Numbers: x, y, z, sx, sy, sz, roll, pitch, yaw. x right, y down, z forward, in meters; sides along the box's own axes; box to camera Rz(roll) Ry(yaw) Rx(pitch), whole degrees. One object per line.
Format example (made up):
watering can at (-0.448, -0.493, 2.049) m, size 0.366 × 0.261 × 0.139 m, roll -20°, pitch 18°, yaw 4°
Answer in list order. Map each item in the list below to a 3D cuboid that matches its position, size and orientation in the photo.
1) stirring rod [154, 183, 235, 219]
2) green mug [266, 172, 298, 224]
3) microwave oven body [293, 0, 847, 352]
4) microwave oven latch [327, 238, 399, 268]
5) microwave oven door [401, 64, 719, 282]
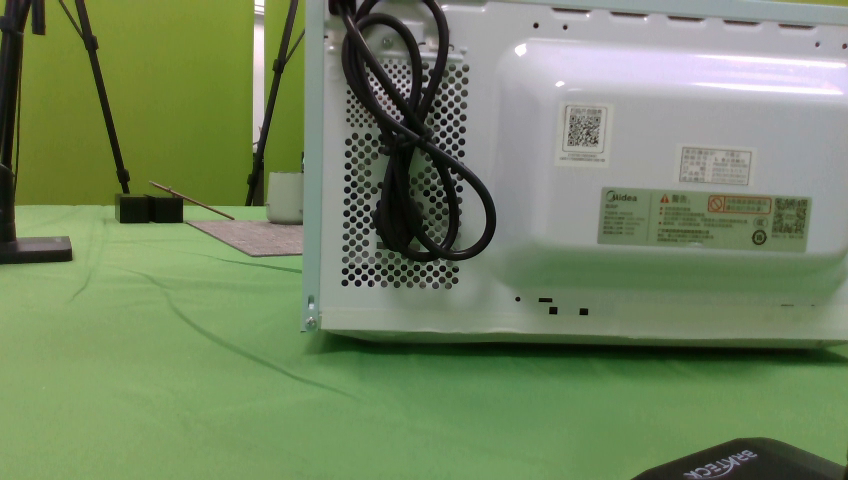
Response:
stirring rod at (-0.472, -0.079, 1.252) m, size 0.177 × 0.006 × 0.014 m, roll 27°, pitch 4°, yaw -35°
green mug at (-0.272, -0.089, 1.271) m, size 0.092 × 0.105 × 0.126 m, roll 7°, pitch 8°, yaw 33°
microwave oven body at (0.122, -0.055, 0.550) m, size 0.442 × 0.260 × 0.325 m, roll 3°, pitch 7°, yaw -5°
microwave oven latch at (-0.070, 0.015, 0.694) m, size 0.079 × 0.029 × 0.030 m, roll 3°, pitch 7°, yaw -3°
microwave oven door at (0.155, -0.080, 0.722) m, size 0.356 × 0.243 × 0.039 m, roll 3°, pitch 8°, yaw 3°
